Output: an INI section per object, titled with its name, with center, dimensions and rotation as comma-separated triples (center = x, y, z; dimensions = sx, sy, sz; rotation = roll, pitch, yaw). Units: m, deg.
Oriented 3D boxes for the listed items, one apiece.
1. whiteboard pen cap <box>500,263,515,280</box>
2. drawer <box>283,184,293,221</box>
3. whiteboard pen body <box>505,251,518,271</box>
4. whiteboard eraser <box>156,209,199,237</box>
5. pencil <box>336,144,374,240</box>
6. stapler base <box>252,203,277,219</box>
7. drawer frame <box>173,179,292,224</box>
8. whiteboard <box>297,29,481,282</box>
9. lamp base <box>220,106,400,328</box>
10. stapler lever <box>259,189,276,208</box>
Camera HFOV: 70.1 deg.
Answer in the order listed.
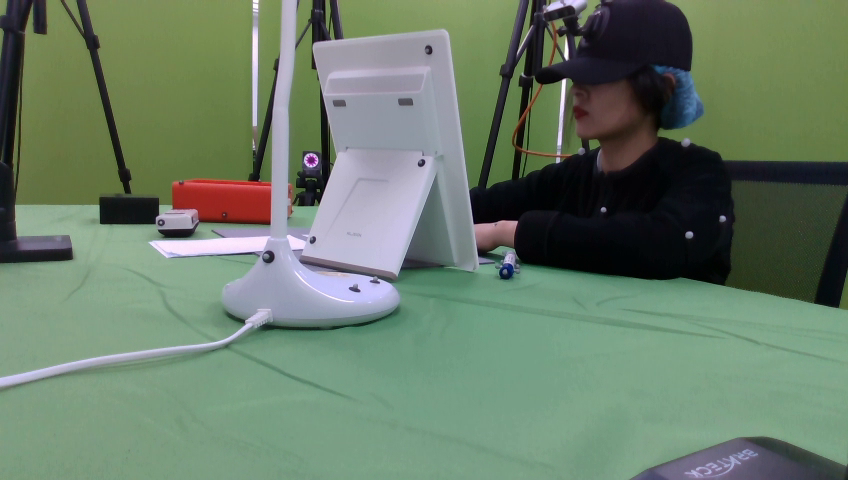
[whiteboard pen cap]
center = 0.105, 0.038, 0.758
dimensions = 0.018, 0.018, 0.033
rotation = 4, 10, 10
[drawer]
center = -0.396, -0.085, 1.301
dimensions = 0.212, 0.073, 0.194
rotation = 1, 8, -7
[whiteboard pen body]
center = 0.117, 0.031, 0.815
dimensions = 0.017, 0.017, 0.141
rotation = 4, 7, 10
[whiteboard eraser]
center = -0.411, -0.029, 1.016
dimensions = 0.056, 0.042, 0.112
rotation = 2, 7, -16
[pencil]
center = -0.118, -0.084, 1.027
dimensions = 0.012, 0.194, 0.012
rotation = 14, -26, 7
[stapler base]
center = -0.341, -0.065, 1.301
dimensions = 0.041, 0.024, 0.130
rotation = 15, 5, -10
[drawer frame]
center = -0.400, -0.086, 1.300
dimensions = 0.214, 0.082, 0.201
rotation = 1, 8, -8
[whiteboard]
center = -0.076, -0.082, 0.742
dimensions = 0.216, 0.305, 0.144
rotation = 9, 29, 37
[lamp base]
center = -0.101, -0.023, 0.531
dimensions = 0.160, 0.180, 0.179
rotation = 4, 10, 10
[stapler lever]
center = -0.335, -0.090, 1.300
dimensions = 0.027, 0.040, 0.118
rotation = 15, 4, -10
